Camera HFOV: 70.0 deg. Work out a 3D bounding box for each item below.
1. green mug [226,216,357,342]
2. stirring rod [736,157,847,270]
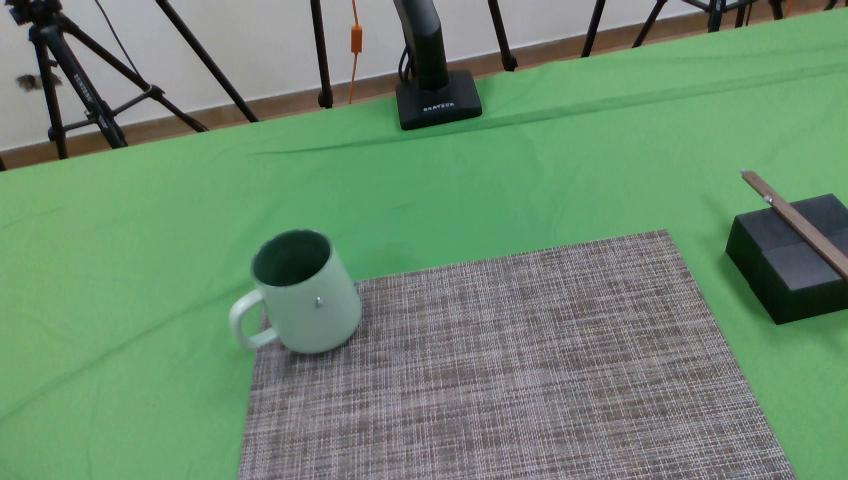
[{"bbox_3d":[-0.133,0.049,0.597,0.125,0.106,0.091,-35,50,-20],"label":"green mug"},{"bbox_3d":[0.352,-0.026,0.571,0.014,0.006,0.174,-16,46,-5],"label":"stirring rod"}]
